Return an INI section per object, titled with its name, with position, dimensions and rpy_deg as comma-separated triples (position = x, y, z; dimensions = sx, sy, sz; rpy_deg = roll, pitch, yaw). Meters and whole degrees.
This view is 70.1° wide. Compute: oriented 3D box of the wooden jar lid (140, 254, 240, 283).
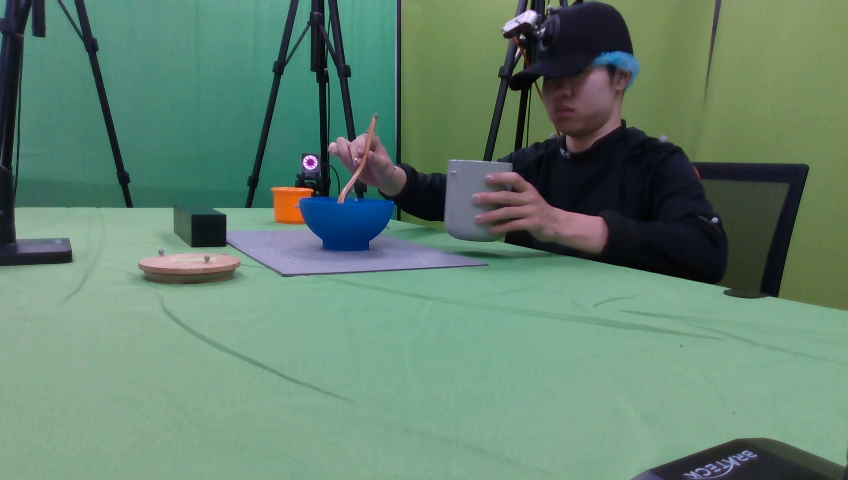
[wooden jar lid]
position = -0.269, 0.032, 0.698
dimensions = 0.108, 0.020, 0.108
rpy_deg = 2, 5, 0

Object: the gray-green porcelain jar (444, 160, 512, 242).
[gray-green porcelain jar]
position = 0.086, -0.063, 0.973
dimensions = 0.106, 0.126, 0.106
rpy_deg = 3, 7, 0

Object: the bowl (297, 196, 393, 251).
[bowl]
position = -0.125, -0.026, 0.958
dimensions = 0.151, 0.077, 0.151
rpy_deg = 2, 7, 0

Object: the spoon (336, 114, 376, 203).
[spoon]
position = -0.109, -0.118, 0.986
dimensions = 0.021, 0.193, 0.041
rpy_deg = 22, -15, -2
